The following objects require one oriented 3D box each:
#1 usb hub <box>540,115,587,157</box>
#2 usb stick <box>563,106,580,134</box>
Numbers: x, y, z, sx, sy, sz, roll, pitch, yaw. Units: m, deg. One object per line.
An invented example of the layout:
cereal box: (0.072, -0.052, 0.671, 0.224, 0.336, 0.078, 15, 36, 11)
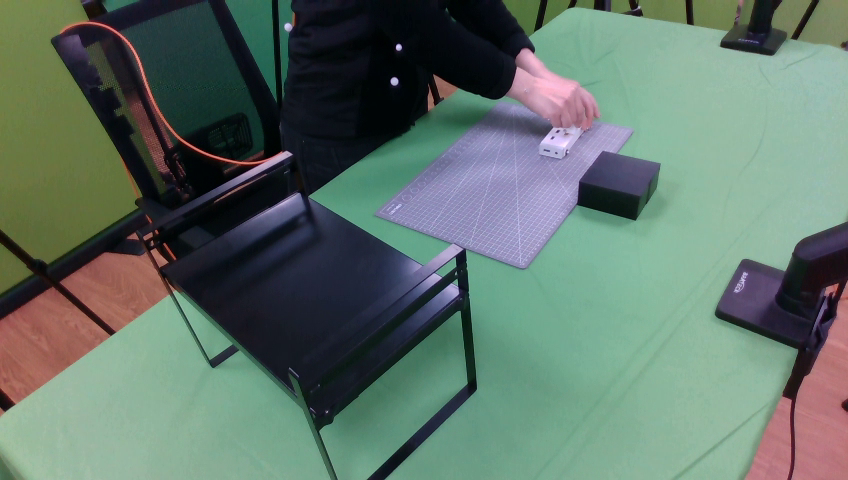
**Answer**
usb hub: (0.270, -0.203, 1.164, 0.049, 0.025, 0.125, 19, 47, 26)
usb stick: (0.276, -0.219, 1.133, 0.027, 0.059, 0.021, 21, 50, 26)
